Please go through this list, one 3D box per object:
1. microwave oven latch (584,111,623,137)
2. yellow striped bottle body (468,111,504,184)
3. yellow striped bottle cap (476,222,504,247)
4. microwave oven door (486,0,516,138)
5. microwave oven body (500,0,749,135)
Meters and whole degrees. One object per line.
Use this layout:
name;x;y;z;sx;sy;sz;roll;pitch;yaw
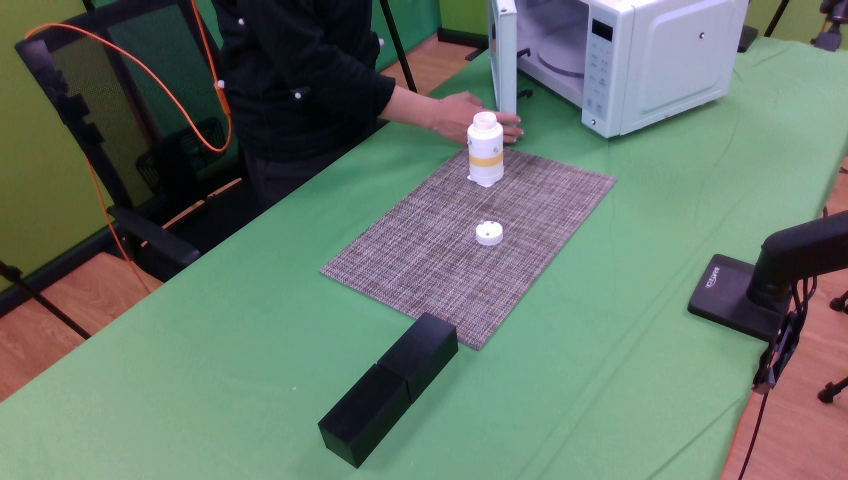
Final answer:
microwave oven latch;0.337;-0.222;1.142;0.030;0.029;0.078;-21;42;-14
yellow striped bottle body;0.109;-0.164;1.064;0.063;0.121;0.062;-4;41;4
yellow striped bottle cap;0.105;-0.010;0.966;0.044;0.019;0.044;-3;39;3
microwave oven door;0.153;-0.402;1.222;0.039;0.245;0.354;-3;41;4
microwave oven body;0.381;-0.444;1.246;0.327;0.261;0.437;-22;42;-16
